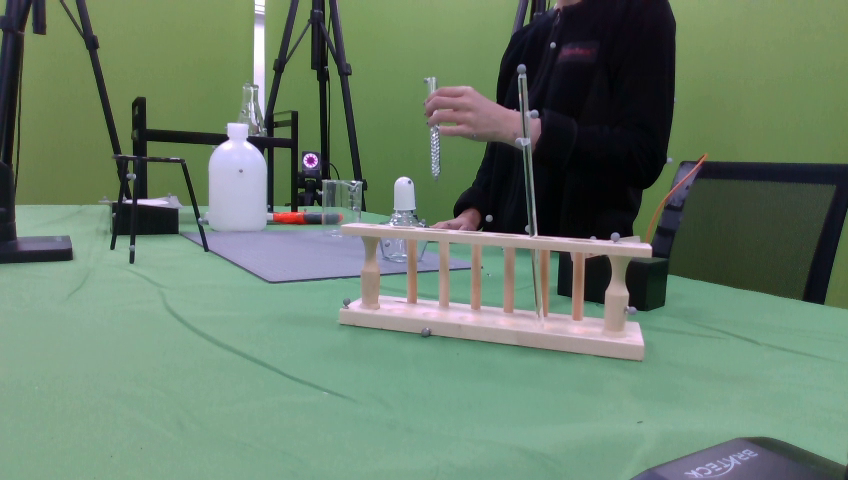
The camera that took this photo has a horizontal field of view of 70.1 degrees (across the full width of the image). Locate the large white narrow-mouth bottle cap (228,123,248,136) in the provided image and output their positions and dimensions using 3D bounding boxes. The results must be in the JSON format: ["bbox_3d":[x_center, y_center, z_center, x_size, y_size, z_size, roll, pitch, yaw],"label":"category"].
[{"bbox_3d":[-0.338,-0.200,1.097,0.038,0.024,0.037,2,8,0],"label":"large white narrow-mouth bottle cap"}]

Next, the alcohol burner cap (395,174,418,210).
[{"bbox_3d":[-0.026,-0.067,0.834,0.034,0.048,0.034,-1,12,1],"label":"alcohol burner cap"}]

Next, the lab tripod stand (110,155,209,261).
[{"bbox_3d":[-0.361,-0.046,0.806,0.148,0.131,0.148,2,5,0],"label":"lab tripod stand"}]

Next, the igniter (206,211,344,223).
[{"bbox_3d":[-0.302,-0.048,1.249,0.278,0.025,0.057,-2,-2,-27],"label":"igniter"}]

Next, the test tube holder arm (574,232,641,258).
[{"bbox_3d":[0.202,0.003,0.651,0.013,0.015,0.179,-3,2,36],"label":"test tube holder arm"}]

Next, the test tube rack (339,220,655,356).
[{"bbox_3d":[0.056,0.032,0.495,0.242,0.085,0.067,4,7,15],"label":"test tube rack"}]

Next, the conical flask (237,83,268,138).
[{"bbox_3d":[-0.402,-0.299,1.406,0.075,0.122,0.075,2,7,0],"label":"conical flask"}]

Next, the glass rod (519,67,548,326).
[{"bbox_3d":[0.084,-0.029,0.459,0.008,0.199,0.008,-7,11,2],"label":"glass rod"}]

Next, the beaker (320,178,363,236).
[{"bbox_3d":[-0.145,-0.059,1.078,0.074,0.100,0.083,-4,10,-36],"label":"beaker"}]

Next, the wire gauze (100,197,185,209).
[{"bbox_3d":[-0.469,-0.062,1.008,0.126,0.011,0.121,-2,8,-25],"label":"wire gauze"}]

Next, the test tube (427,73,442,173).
[{"bbox_3d":[0.016,-0.177,0.914,0.017,0.150,0.017,-3,1,0],"label":"test tube"}]

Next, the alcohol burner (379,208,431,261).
[{"bbox_3d":[-0.027,-0.031,0.838,0.078,0.119,0.078,0,6,0],"label":"alcohol burner"}]

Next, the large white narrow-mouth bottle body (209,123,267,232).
[{"bbox_3d":[-0.340,-0.115,1.109,0.102,0.194,0.102,2,8,0],"label":"large white narrow-mouth bottle body"}]

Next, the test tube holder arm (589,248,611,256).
[{"bbox_3d":[0.180,0.006,0.611,0.010,0.015,0.088,-3,2,36],"label":"test tube holder arm"}]
